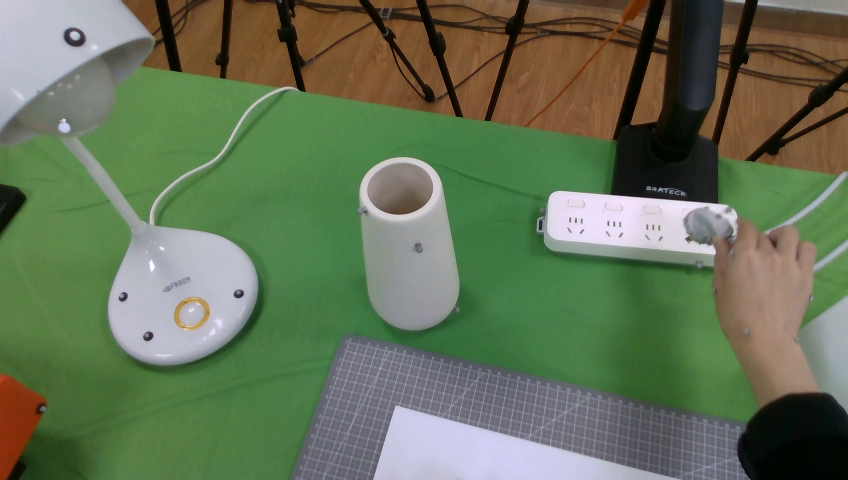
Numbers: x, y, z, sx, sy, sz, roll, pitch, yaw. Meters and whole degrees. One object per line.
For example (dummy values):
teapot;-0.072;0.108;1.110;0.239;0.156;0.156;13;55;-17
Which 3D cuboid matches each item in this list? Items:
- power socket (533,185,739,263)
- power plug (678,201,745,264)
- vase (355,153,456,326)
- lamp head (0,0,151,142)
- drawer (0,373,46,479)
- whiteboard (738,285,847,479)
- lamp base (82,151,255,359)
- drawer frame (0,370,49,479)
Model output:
power socket;0.239;-0.019;0.688;0.226;0.033;0.071;6;59;6
power plug;0.277;-0.004;0.600;0.035;0.053;0.072;-12;79;-11
vase;-0.019;0.005;0.587;0.098;0.202;0.097;-2;57;3
lamp head;-0.245;-0.135;0.352;0.112;0.112;0.123;-45;104;-23
drawer;-0.472;0.192;0.505;0.211;0.074;0.193;9;59;8
whiteboard;0.458;0.107;0.475;0.144;0.307;0.215;-6;55;-24
lamp base;-0.278;0.006;0.607;0.160;0.182;0.177;-38;61;-20
drawer frame;-0.478;0.194;0.508;0.213;0.083;0.200;10;60;7
